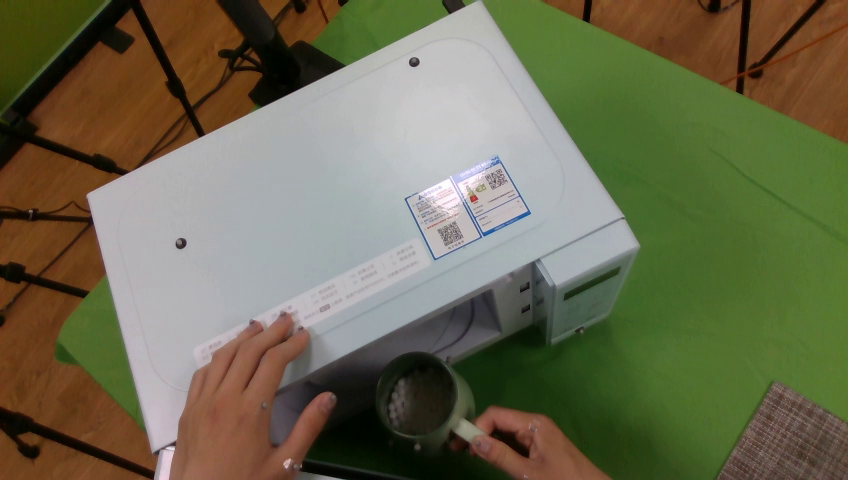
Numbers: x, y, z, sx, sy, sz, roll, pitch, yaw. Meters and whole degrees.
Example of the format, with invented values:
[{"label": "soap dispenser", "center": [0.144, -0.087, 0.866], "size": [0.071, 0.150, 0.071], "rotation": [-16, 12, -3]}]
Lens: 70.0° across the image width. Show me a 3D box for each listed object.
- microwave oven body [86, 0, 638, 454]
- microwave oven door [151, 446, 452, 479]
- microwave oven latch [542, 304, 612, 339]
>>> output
[{"label": "microwave oven body", "center": [-0.062, 0.009, 0.660], "size": [0.442, 0.262, 0.323], "rotation": [-27, 68, 0]}, {"label": "microwave oven door", "center": [-0.028, 0.237, 0.562], "size": [0.355, 0.246, 0.039], "rotation": [5, 71, 12]}, {"label": "microwave oven latch", "center": [0.175, 0.084, 0.695], "size": [0.079, 0.030, 0.030], "rotation": [-25, 68, 1]}]
